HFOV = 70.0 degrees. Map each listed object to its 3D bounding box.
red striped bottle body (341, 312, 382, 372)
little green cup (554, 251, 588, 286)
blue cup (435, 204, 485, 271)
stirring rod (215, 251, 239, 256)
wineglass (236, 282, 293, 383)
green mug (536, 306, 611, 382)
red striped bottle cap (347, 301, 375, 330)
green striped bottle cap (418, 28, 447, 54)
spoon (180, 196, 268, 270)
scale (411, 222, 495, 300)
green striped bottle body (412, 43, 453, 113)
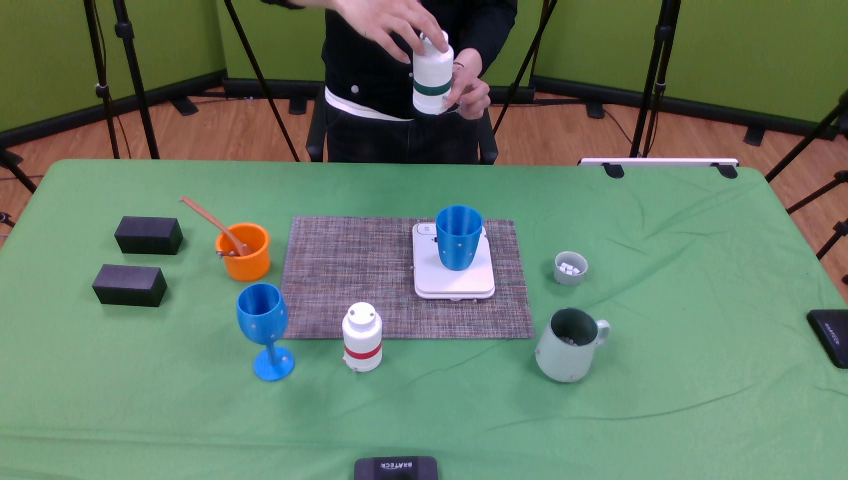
[{"bbox_3d":[-0.100,0.154,0.972,0.063,0.120,0.062,2,46,-2],"label":"red striped bottle body"},{"bbox_3d":[0.277,0.055,1.151,0.061,0.039,0.061,1,46,-1],"label":"little green cup"},{"bbox_3d":[0.061,0.001,1.097,0.092,0.101,0.092,1,44,0],"label":"blue cup"},{"bbox_3d":[-0.339,0.024,1.059,0.014,0.176,0.006,16,86,-6],"label":"stirring rod"},{"bbox_3d":[-0.243,0.143,0.934,0.074,0.173,0.073,2,46,-2],"label":"wineglass"},{"bbox_3d":[0.250,0.167,0.996,0.125,0.105,0.092,-15,48,-18],"label":"green mug"},{"bbox_3d":[-0.097,0.116,0.934,0.044,0.018,0.044,3,49,-3],"label":"red striped bottle cap"},{"bbox_3d":[0.013,-0.299,0.910,0.044,0.020,0.044,1,47,-1],"label":"green striped bottle cap"},{"bbox_3d":[-0.360,-0.014,1.094,0.021,0.194,0.041,-28,26,31],"label":"spoon"},{"bbox_3d":[0.052,0.031,1.158,0.149,0.032,0.199,1,46,-4],"label":"scale"},{"bbox_3d":[0.013,-0.265,0.950,0.063,0.120,0.063,1,49,0],"label":"green striped bottle body"}]
